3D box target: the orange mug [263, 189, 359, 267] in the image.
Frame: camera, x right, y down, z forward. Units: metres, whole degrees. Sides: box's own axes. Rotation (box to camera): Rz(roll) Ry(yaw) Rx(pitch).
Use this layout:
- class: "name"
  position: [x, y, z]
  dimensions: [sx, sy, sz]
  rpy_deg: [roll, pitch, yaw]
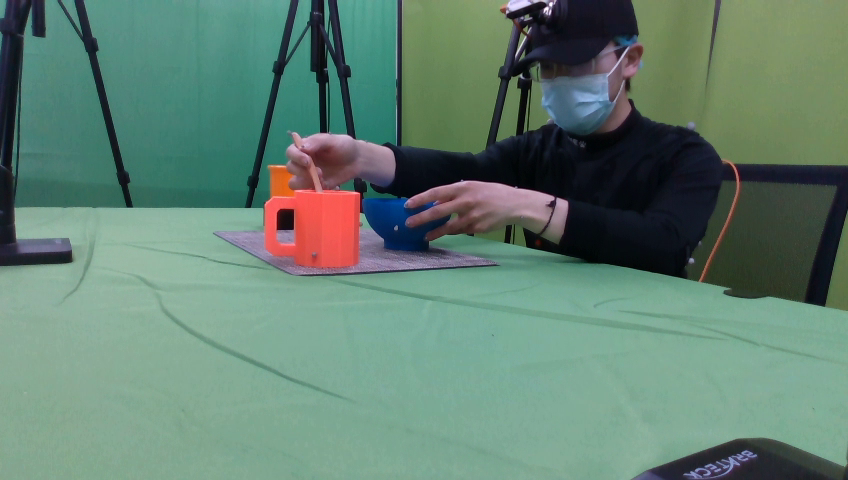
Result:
- class: "orange mug"
  position: [-0.147, -0.019, 0.794]
  dimensions: [0.127, 0.100, 0.083]
  rpy_deg: [5, 6, -20]

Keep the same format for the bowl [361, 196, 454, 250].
- class: "bowl"
  position: [-0.028, -0.028, 0.983]
  dimensions: [0.151, 0.077, 0.151]
  rpy_deg: [3, 7, 0]

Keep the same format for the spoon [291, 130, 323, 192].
- class: "spoon"
  position: [-0.148, -0.080, 0.824]
  dimensions: [0.042, 0.193, 0.021]
  rpy_deg: [-17, -24, -14]
